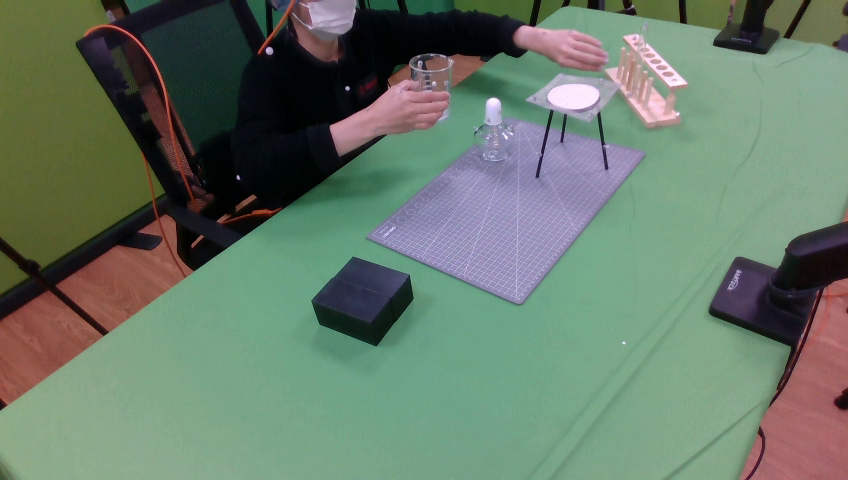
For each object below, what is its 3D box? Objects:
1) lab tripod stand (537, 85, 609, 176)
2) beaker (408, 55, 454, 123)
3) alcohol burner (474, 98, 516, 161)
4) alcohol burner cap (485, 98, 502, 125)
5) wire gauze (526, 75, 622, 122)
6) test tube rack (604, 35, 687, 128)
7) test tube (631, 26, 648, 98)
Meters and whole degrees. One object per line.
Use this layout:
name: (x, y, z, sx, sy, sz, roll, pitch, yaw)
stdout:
lab tripod stand: (0.259, -0.192, 1.068, 0.148, 0.132, 0.147, -4, 43, 4)
beaker: (0.014, -0.264, 1.059, 0.084, 0.100, 0.073, -17, 42, -19)
alcohol burner: (0.131, -0.208, 1.121, 0.078, 0.119, 0.077, -5, 40, 5)
alcohol burner cap: (0.126, -0.234, 1.097, 0.034, 0.048, 0.033, -3, 40, 3)
wire gauze: (0.255, -0.248, 1.030, 0.124, 0.011, 0.122, 24, 51, 32)
test tube rack: (0.447, -0.330, 1.241, 0.067, 0.085, 0.241, -9, 41, -2)
test tube: (0.427, -0.350, 1.199, 0.017, 0.151, 0.017, -4, 42, 4)
